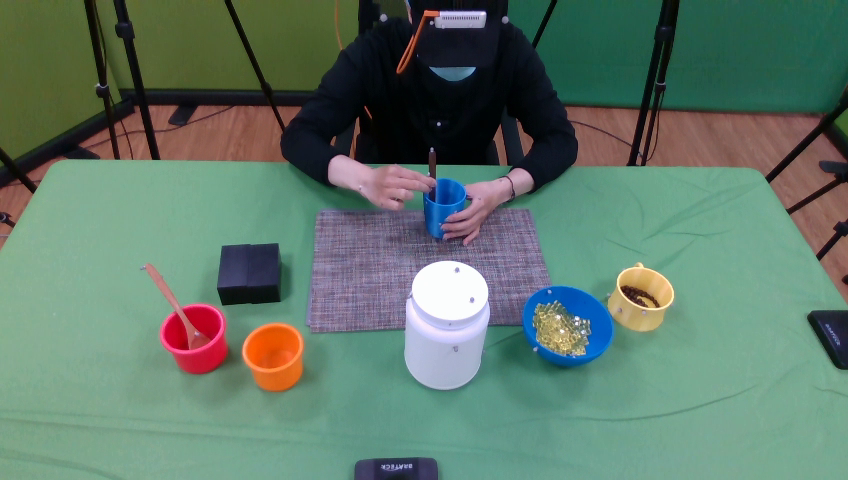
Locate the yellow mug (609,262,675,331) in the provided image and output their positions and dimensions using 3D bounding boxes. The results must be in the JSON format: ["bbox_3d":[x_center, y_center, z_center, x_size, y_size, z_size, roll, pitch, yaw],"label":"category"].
[{"bbox_3d":[0.393,0.094,1.103,0.100,0.064,0.130,7,45,4],"label":"yellow mug"}]

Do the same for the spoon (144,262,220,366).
[{"bbox_3d":[-0.389,0.118,0.971,0.041,0.021,0.194,-34,101,-33],"label":"spoon"}]

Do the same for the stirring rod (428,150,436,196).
[{"bbox_3d":[0.015,-0.096,1.162,0.014,0.177,0.006,-16,42,-18],"label":"stirring rod"}]

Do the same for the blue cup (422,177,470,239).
[{"bbox_3d":[0.037,-0.058,1.194,0.093,0.101,0.092,2,44,-2],"label":"blue cup"}]

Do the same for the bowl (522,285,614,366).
[{"bbox_3d":[0.235,0.158,1.022,0.151,0.077,0.150,2,46,-2],"label":"bowl"}]

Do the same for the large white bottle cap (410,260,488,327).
[{"bbox_3d":[0.037,0.077,0.893,0.115,0.018,0.114,2,47,-2],"label":"large white bottle cap"}]

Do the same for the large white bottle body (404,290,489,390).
[{"bbox_3d":[0.033,0.136,0.955,0.131,0.185,0.130,2,46,-2],"label":"large white bottle body"}]
